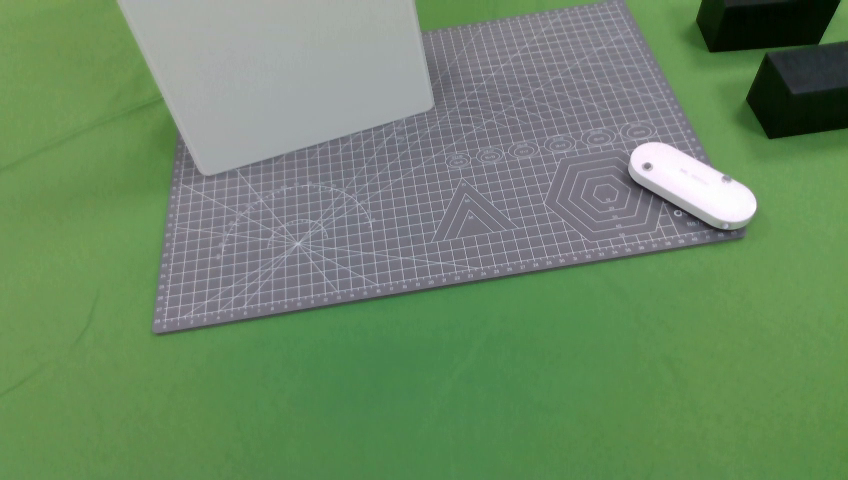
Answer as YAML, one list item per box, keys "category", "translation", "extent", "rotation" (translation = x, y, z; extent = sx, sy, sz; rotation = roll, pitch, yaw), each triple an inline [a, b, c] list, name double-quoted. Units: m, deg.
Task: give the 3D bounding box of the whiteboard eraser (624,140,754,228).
- category: "whiteboard eraser"
  translation: [0.205, -0.045, 0.472]
  extent: [0.100, 0.019, 0.041]
  rotation: [38, 67, 27]

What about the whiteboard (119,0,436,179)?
- category: "whiteboard"
  translation: [-0.136, -0.243, 0.501]
  extent: [0.217, 0.308, 0.142]
  rotation: [-18, 37, -6]
